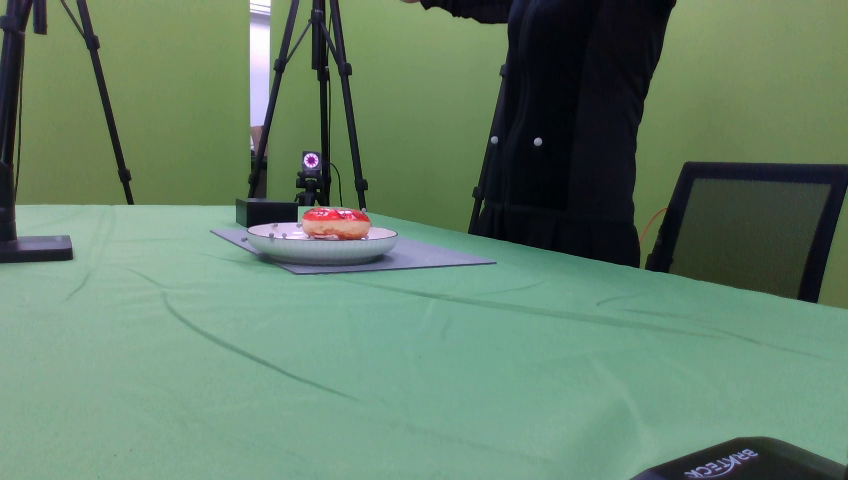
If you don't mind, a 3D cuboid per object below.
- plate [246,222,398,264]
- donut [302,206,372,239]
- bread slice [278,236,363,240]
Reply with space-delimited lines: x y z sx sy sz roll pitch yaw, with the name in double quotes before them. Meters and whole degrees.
"plate" -0.140 0.004 0.847 0.209 0.038 0.209 2 7 0
"donut" -0.123 -0.023 0.853 0.099 0.048 0.099 3 3 0
"bread slice" -0.139 0.006 0.839 0.132 0.019 0.104 -2 8 -35
